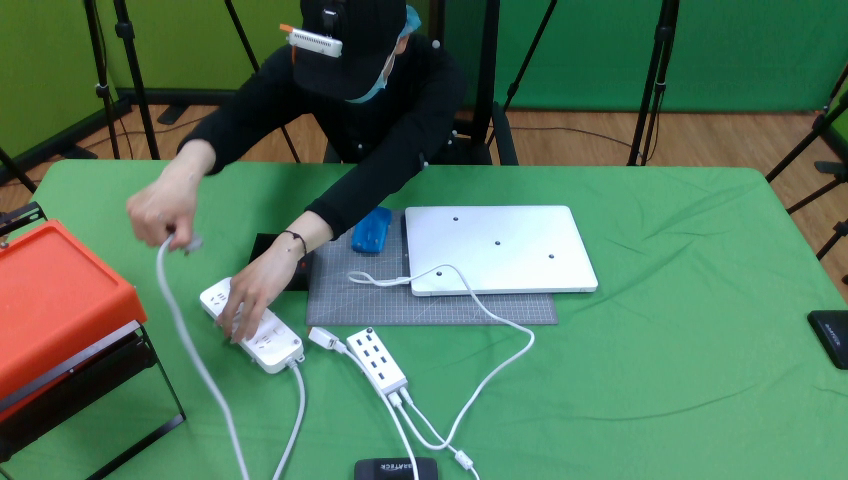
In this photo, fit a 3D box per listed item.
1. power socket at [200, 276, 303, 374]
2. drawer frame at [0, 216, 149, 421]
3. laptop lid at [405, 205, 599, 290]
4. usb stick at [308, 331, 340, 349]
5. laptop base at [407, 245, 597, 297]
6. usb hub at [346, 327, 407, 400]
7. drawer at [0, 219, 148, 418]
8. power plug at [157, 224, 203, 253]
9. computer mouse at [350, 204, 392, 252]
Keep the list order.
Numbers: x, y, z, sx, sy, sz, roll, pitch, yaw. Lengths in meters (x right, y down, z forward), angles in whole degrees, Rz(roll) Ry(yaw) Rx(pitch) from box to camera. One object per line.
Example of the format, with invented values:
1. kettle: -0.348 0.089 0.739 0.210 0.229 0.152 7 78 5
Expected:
1. power socket: -0.297 0.141 1.034 0.225 0.033 0.072 37 55 26
2. drawer frame: -0.510 0.093 0.780 0.201 0.083 0.213 31 52 23
3. laptop lid: 0.143 0.008 1.189 0.357 0.013 0.240 0 44 -5
4. usb stick: -0.174 0.167 1.022 0.059 0.021 0.027 10 1 24
5. laptop base: 0.143 0.018 1.196 0.355 0.023 0.234 -1 43 -6
6. usb hub: -0.079 0.202 0.998 0.049 0.025 0.124 -23 53 -24
7. drawer: -0.509 0.093 0.783 0.193 0.073 0.211 32 53 24
8. power plug: -0.374 0.000 0.921 0.073 0.053 0.035 -12 52 -37
9. computer mouse: -0.104 -0.027 1.202 0.063 0.041 0.116 11 51 4
